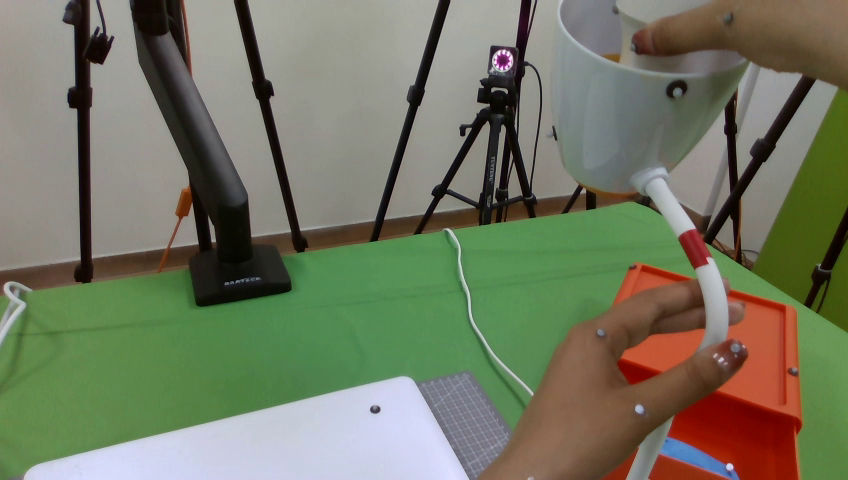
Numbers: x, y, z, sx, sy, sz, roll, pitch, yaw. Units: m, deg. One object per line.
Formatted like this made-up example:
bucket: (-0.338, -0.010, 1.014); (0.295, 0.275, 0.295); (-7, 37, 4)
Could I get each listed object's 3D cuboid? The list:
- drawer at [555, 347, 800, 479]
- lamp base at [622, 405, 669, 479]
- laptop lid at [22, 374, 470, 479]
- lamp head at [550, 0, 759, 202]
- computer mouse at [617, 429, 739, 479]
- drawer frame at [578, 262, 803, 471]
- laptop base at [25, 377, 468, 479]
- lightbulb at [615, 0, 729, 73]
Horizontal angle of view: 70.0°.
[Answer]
drawer: (0.253, 0.174, 0.598); (0.193, 0.074, 0.211); (15, 30, 21)
lamp base: (0.146, 0.214, 0.401); (0.161, 0.181, 0.177); (2, 27, -8)
laptop lid: (-0.131, 0.223, 0.489); (0.358, 0.013, 0.239); (-8, 34, -21)
lamp head: (0.130, -0.084, 0.378); (0.112, 0.124, 0.111); (-1, 44, 1)
computer mouse: (0.231, 0.213, 0.553); (0.117, 0.041, 0.062); (16, 31, 13)
drawer frame: (0.303, 0.126, 0.686); (0.200, 0.083, 0.213); (16, 31, 21)
laptop base: (-0.132, 0.233, 0.497); (0.356, 0.023, 0.233); (-9, 35, -23)
lightbulb: (0.134, -0.118, 0.345); (0.059, 0.108, 0.059); (3, 41, -2)
